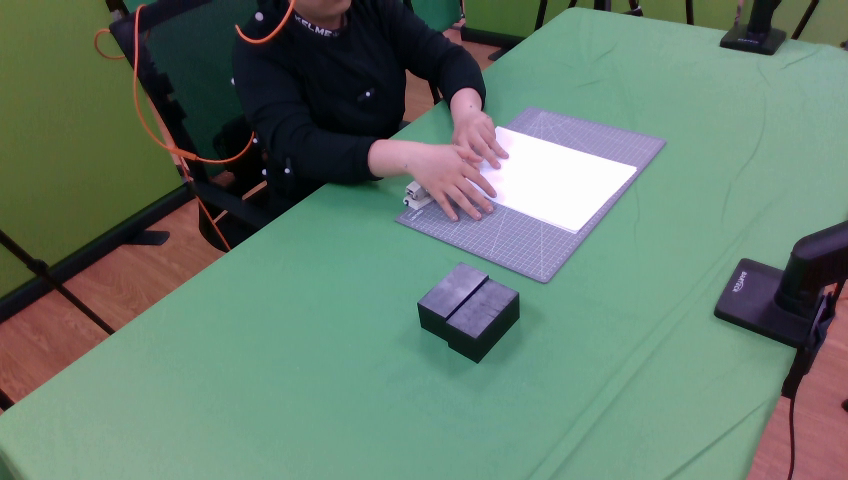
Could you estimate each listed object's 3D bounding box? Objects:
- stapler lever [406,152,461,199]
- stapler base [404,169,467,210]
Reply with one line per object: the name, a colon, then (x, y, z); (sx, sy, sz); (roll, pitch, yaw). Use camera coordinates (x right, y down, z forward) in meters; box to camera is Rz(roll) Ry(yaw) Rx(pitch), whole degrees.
stapler lever: (0.017, -0.117, 1.071); (0.118, 0.040, 0.026); (-35, 44, -28)
stapler base: (0.021, -0.099, 1.087); (0.131, 0.024, 0.041); (-35, 44, -27)
